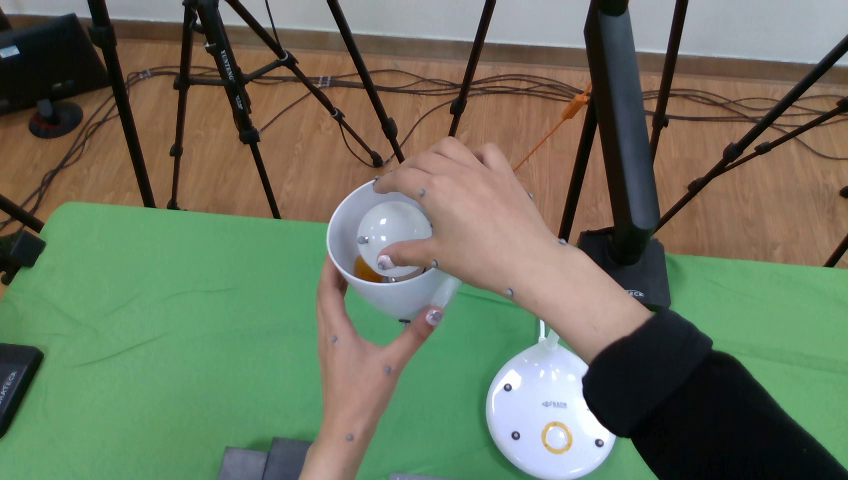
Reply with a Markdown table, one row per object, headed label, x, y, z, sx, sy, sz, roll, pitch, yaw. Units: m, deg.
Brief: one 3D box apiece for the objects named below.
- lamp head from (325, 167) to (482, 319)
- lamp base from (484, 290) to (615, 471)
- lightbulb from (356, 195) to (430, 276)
| label | x | y | z | sx | sy | sz | roll | pitch | yaw |
| --- | --- | --- | --- | --- | --- | --- | --- | --- | --- |
| lamp head | -0.011 | 0.015 | 0.524 | 0.112 | 0.124 | 0.111 | -9 | 55 | 13 |
| lamp base | 0.152 | 0.150 | 0.694 | 0.161 | 0.182 | 0.177 | -6 | 54 | -4 |
| lightbulb | -0.021 | 0.006 | 0.502 | 0.059 | 0.108 | 0.059 | -4 | 60 | 8 |
